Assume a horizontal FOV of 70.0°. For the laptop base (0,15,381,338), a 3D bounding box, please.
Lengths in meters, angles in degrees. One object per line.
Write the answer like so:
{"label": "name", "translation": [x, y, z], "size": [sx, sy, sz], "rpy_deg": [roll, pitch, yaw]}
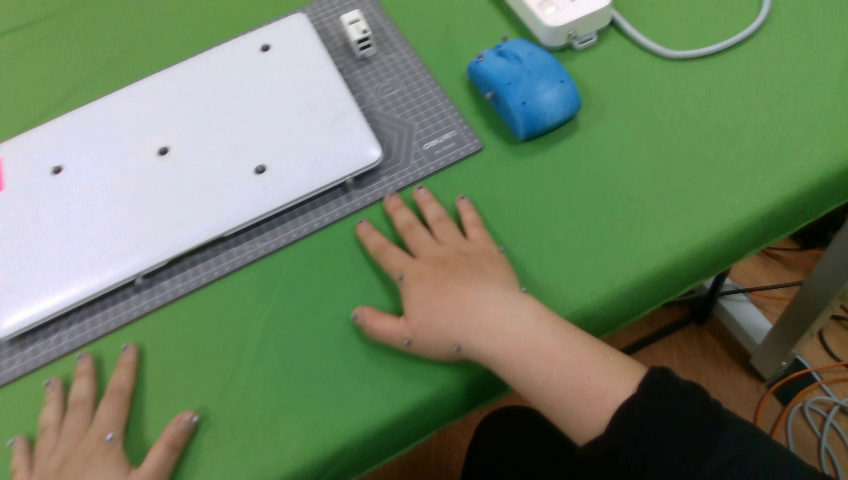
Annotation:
{"label": "laptop base", "translation": [-0.238, -0.076, 0.573], "size": [0.354, 0.023, 0.233], "rpy_deg": [-26, 60, -6]}

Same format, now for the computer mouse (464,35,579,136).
{"label": "computer mouse", "translation": [0.084, -0.145, 0.538], "size": [0.063, 0.041, 0.116], "rpy_deg": [-28, 52, -3]}

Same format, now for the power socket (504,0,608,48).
{"label": "power socket", "translation": [0.106, -0.276, 0.619], "size": [0.072, 0.033, 0.224], "rpy_deg": [-25, 56, -3]}

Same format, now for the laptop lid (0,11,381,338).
{"label": "laptop lid", "translation": [-0.239, -0.081, 0.562], "size": [0.357, 0.013, 0.239], "rpy_deg": [-25, 59, -4]}

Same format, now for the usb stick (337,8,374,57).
{"label": "usb stick", "translation": [-0.072, -0.216, 0.619], "size": [0.021, 0.027, 0.058], "rpy_deg": [-26, 54, -2]}
